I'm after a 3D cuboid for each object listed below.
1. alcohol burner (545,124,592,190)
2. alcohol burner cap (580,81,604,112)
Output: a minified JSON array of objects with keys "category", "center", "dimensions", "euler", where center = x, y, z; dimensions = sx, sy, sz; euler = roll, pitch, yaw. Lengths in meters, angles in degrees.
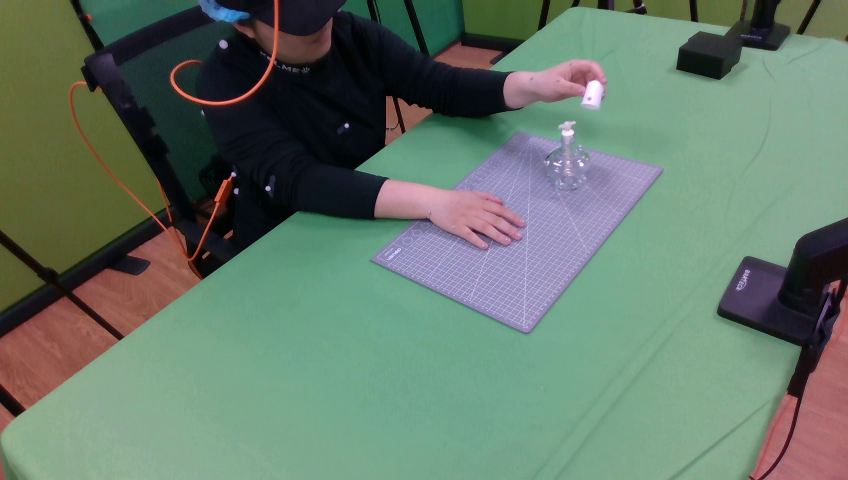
[{"category":"alcohol burner","center":[0.247,-0.146,1.035],"dimensions":[0.078,0.120,0.077],"euler":[-7,41,6]},{"category":"alcohol burner cap","center":[0.284,-0.243,1.015],"dimensions":[0.034,0.048,0.034],"euler":[15,2,0]}]
